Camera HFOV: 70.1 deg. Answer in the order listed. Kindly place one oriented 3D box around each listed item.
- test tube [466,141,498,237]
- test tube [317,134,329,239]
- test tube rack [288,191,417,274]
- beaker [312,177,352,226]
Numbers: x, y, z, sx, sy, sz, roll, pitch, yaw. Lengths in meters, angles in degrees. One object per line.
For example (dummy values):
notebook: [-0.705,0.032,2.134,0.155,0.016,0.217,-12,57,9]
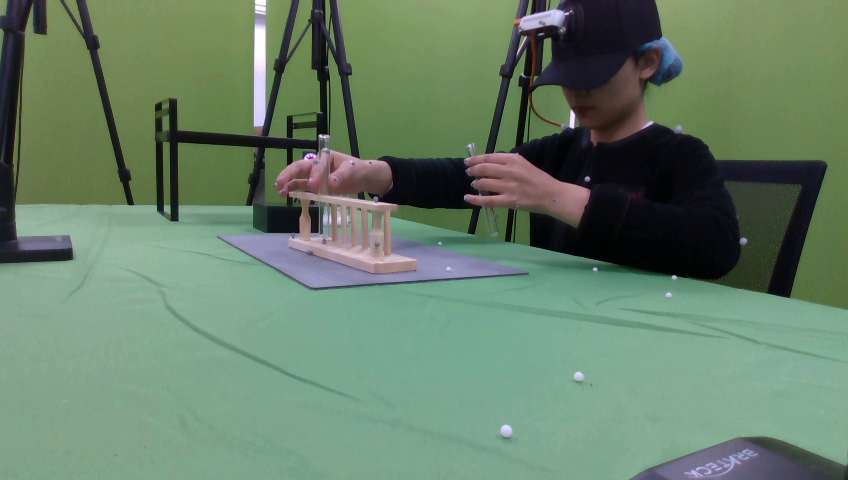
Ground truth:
test tube: [0.090,-0.078,0.931,0.017,0.150,0.017,-14,0,0]
test tube: [-0.142,-0.073,0.849,0.017,0.150,0.017,3,17,-1]
test tube rack: [-0.106,-0.017,0.835,0.067,0.085,0.241,-3,9,-37]
beaker: [-0.194,-0.081,1.266,0.084,0.100,0.073,-3,9,-29]
